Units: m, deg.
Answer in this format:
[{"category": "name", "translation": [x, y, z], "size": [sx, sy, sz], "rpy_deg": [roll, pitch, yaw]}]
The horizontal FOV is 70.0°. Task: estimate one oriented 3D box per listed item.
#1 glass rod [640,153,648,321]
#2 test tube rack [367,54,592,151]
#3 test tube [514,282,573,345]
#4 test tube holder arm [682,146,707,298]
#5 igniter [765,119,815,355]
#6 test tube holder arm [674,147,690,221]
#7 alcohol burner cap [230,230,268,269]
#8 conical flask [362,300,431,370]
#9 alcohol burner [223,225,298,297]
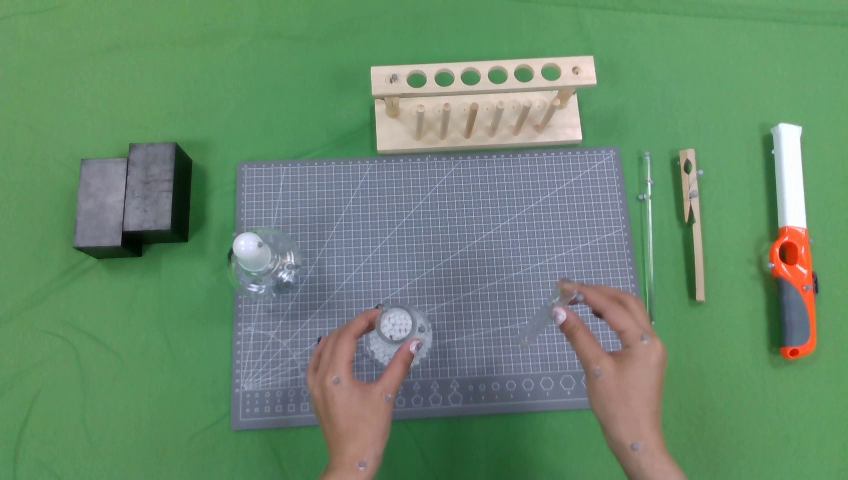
[{"category": "glass rod", "translation": [0.253, -0.006, 0.696], "size": [0.008, 0.008, 0.199], "rpy_deg": [4, 78, -1]}, {"category": "test tube rack", "translation": [0.060, -0.154, 0.689], "size": [0.242, 0.085, 0.066], "rpy_deg": [-4, 76, -2]}, {"category": "test tube", "translation": [0.106, 0.071, 0.553], "size": [0.017, 0.151, 0.017], "rpy_deg": [2, 66, -5]}, {"category": "test tube holder arm", "translation": [0.309, -0.023, 0.695], "size": [0.013, 0.015, 0.177], "rpy_deg": [-11, 73, 33]}, {"category": "igniter", "translation": [0.415, -0.007, 0.691], "size": [0.057, 0.025, 0.275], "rpy_deg": [8, 76, -10]}, {"category": "test tube holder arm", "translation": [0.303, -0.065, 0.709], "size": [0.010, 0.015, 0.087], "rpy_deg": [-10, 74, 33]}, {"category": "alcohol burner cap", "translation": [-0.171, 0.007, 0.587], "size": [0.034, 0.048, 0.033], "rpy_deg": [2, 71, -5]}, {"category": "conical flask", "translation": [-0.029, 0.089, 0.603], "size": [0.075, 0.122, 0.075], "rpy_deg": [0, 75, -1]}, {"category": "alcohol burner", "translation": [-0.172, 0.018, 0.621], "size": [0.078, 0.119, 0.077], "rpy_deg": [0, 75, 1]}]
